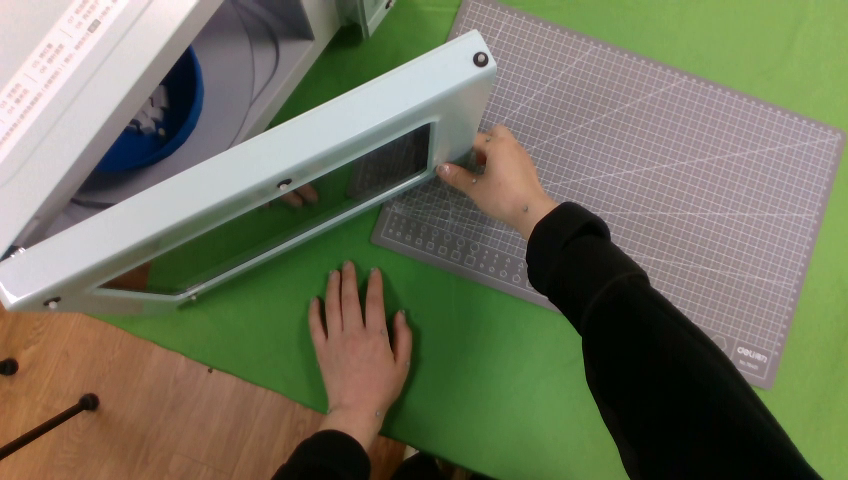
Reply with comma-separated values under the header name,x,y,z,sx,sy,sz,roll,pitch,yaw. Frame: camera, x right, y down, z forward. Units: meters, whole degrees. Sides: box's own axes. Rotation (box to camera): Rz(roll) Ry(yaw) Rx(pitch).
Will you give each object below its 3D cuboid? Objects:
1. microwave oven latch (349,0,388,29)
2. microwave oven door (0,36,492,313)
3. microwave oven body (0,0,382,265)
name,x,y,z,sx,sy,sz,roll,pitch,yaw
microwave oven latch,-0.048,-0.264,0.637,0.030,0.029,0.079,37,85,2
microwave oven door,-0.118,-0.036,0.509,0.356,0.244,0.039,-27,84,-4
microwave oven body,-0.269,-0.214,0.528,0.326,0.260,0.441,34,85,2
